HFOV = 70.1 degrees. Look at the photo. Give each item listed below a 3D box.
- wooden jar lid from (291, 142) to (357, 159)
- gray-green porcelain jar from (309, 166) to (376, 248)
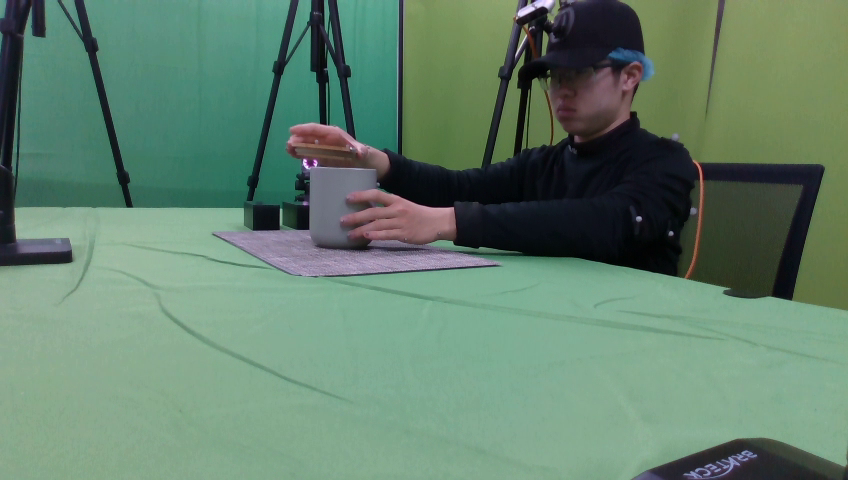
[{"bbox_3d":[-0.167,-0.148,1.003,0.108,0.020,0.108,6,6,0],"label":"wooden jar lid"},{"bbox_3d":[-0.131,-0.054,0.966,0.106,0.126,0.106,2,7,0],"label":"gray-green porcelain jar"}]
